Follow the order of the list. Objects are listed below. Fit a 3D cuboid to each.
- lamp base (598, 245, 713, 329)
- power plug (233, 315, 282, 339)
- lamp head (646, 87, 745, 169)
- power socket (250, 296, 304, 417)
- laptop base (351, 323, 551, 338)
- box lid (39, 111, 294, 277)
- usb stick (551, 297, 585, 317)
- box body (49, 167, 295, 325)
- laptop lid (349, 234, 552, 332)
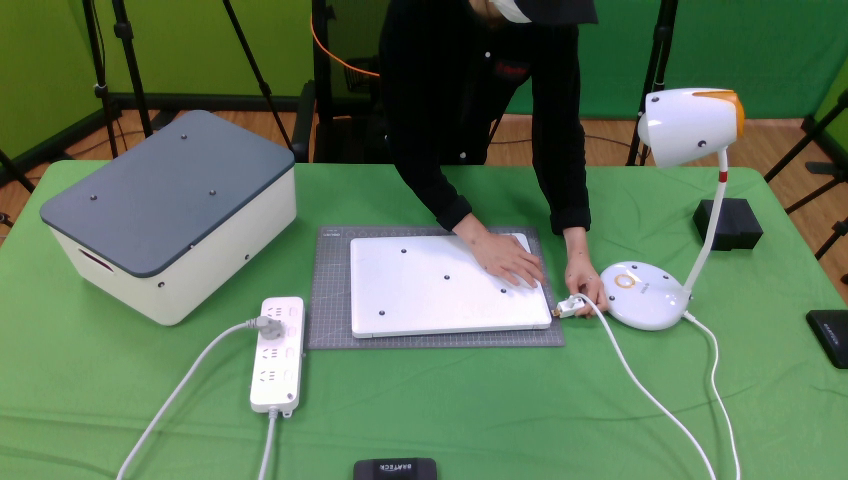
[{"bbox_3d":[0.420,0.051,1.071,0.179,0.181,0.160,22,49,13],"label":"lamp base"},{"bbox_3d":[-0.271,0.144,1.000,0.072,0.053,0.035,5,47,3],"label":"power plug"},{"bbox_3d":[0.382,-0.161,0.852,0.122,0.113,0.112,-4,42,25],"label":"lamp head"},{"bbox_3d":[-0.239,0.182,0.996,0.072,0.033,0.225,-2,47,-5],"label":"power socket"},{"bbox_3d":[0.040,0.080,1.126,0.355,0.023,0.234,-2,43,-6],"label":"laptop base"},{"bbox_3d":[-0.434,-0.097,1.055,0.262,0.015,0.370,25,49,18],"label":"box lid"},{"bbox_3d":[0.257,0.122,1.087,0.059,0.027,0.021,-15,59,-9],"label":"usb stick"},{"bbox_3d":[-0.437,-0.046,1.110,0.253,0.161,0.363,24,49,19],"label":"box body"},{"bbox_3d":[0.040,0.071,1.120,0.357,0.013,0.240,0,44,-6],"label":"laptop lid"}]
